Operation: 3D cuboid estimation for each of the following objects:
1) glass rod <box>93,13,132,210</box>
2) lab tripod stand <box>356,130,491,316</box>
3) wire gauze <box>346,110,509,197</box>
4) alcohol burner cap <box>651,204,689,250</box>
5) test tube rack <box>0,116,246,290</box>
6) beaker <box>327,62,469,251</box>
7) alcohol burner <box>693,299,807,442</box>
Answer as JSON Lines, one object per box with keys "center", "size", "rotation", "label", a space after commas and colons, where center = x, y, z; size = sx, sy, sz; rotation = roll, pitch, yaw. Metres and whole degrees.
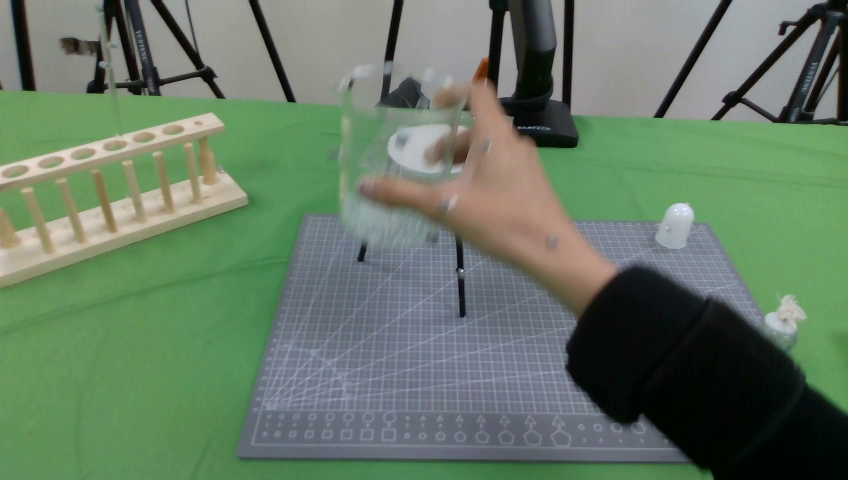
{"center": [-0.305, -0.119, 0.596], "size": [0.008, 0.201, 0.008], "rotation": [5, 31, -3], "label": "glass rod"}
{"center": [0.006, -0.023, 0.556], "size": [0.148, 0.132, 0.147], "rotation": [1, 40, 0], "label": "lab tripod stand"}
{"center": [0.007, -0.082, 0.522], "size": [0.125, 0.011, 0.120], "rotation": [9, 39, 9], "label": "wire gauze"}
{"center": [0.261, -0.016, 0.639], "size": [0.034, 0.048, 0.033], "rotation": [2, 38, -1], "label": "alcohol burner cap"}
{"center": [-0.313, -0.045, 0.609], "size": [0.243, 0.086, 0.066], "rotation": [-24, 45, -30], "label": "test tube rack"}
{"center": [-0.021, -0.051, 0.382], "size": [0.084, 0.101, 0.073], "rotation": [9, 36, 0], "label": "beaker"}
{"center": [0.243, 0.091, 0.441], "size": [0.078, 0.120, 0.077], "rotation": [2, 36, -1], "label": "alcohol burner"}
